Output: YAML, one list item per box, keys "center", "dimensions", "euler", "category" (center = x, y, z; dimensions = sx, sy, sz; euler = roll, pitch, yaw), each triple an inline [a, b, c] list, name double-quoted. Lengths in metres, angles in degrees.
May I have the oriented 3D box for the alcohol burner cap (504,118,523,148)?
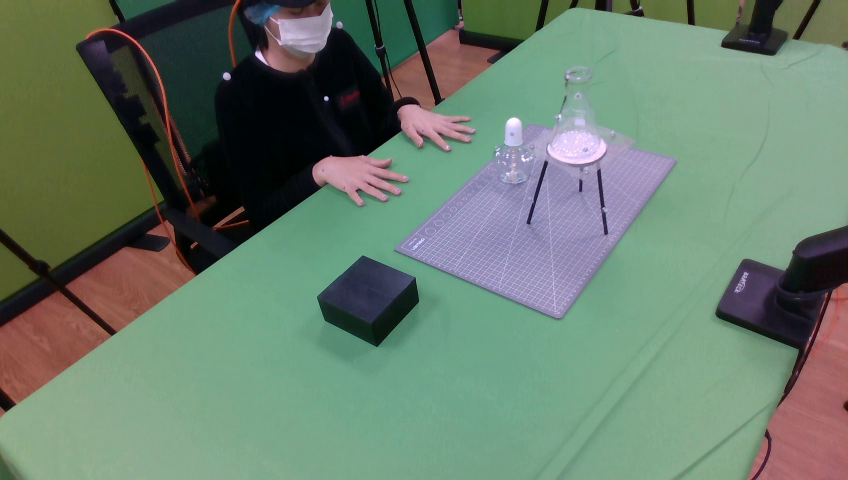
- center: [0.154, -0.186, 1.042]
  dimensions: [0.034, 0.048, 0.033]
  euler: [-4, 33, 3]
  category: "alcohol burner cap"

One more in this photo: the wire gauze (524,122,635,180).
- center: [0.233, -0.142, 0.913]
  dimensions: [0.122, 0.011, 0.124]
  euler: [-31, 43, -26]
  category: "wire gauze"

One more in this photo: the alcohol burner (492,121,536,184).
- center: [0.159, -0.158, 1.064]
  dimensions: [0.078, 0.119, 0.077]
  euler: [-3, 41, 3]
  category: "alcohol burner"

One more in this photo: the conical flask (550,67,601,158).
- center: [0.221, -0.186, 0.875]
  dimensions: [0.075, 0.122, 0.075]
  euler: [-5, 40, 5]
  category: "conical flask"

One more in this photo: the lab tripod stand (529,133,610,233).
- center: [0.236, -0.089, 0.953]
  dimensions: [0.148, 0.132, 0.147]
  euler: [-5, 42, 5]
  category: "lab tripod stand"
